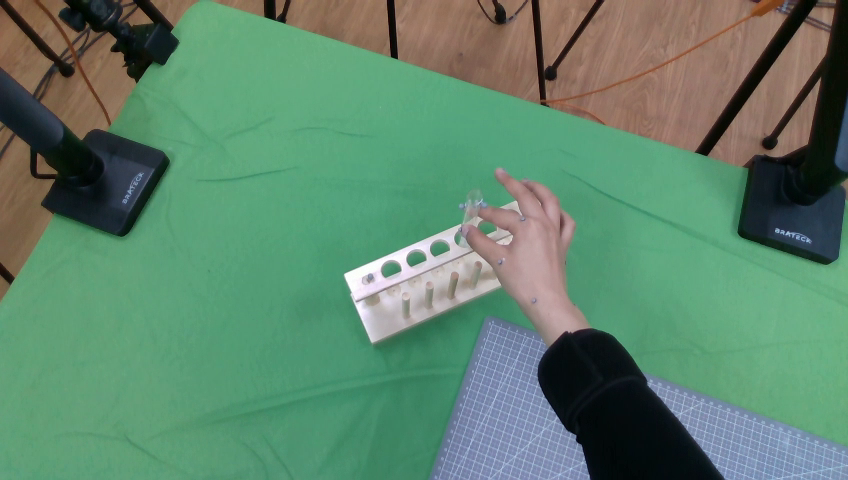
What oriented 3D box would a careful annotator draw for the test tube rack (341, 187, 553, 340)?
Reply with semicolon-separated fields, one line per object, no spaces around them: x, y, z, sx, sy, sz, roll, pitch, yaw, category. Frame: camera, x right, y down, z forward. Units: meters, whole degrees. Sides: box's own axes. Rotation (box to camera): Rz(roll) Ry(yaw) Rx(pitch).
0.034;0.028;0.695;0.242;0.086;0.066;-23;71;-10;test tube rack

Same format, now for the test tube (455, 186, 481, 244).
0.044;-0.019;0.639;0.017;0.151;0.017;1;70;-1;test tube
